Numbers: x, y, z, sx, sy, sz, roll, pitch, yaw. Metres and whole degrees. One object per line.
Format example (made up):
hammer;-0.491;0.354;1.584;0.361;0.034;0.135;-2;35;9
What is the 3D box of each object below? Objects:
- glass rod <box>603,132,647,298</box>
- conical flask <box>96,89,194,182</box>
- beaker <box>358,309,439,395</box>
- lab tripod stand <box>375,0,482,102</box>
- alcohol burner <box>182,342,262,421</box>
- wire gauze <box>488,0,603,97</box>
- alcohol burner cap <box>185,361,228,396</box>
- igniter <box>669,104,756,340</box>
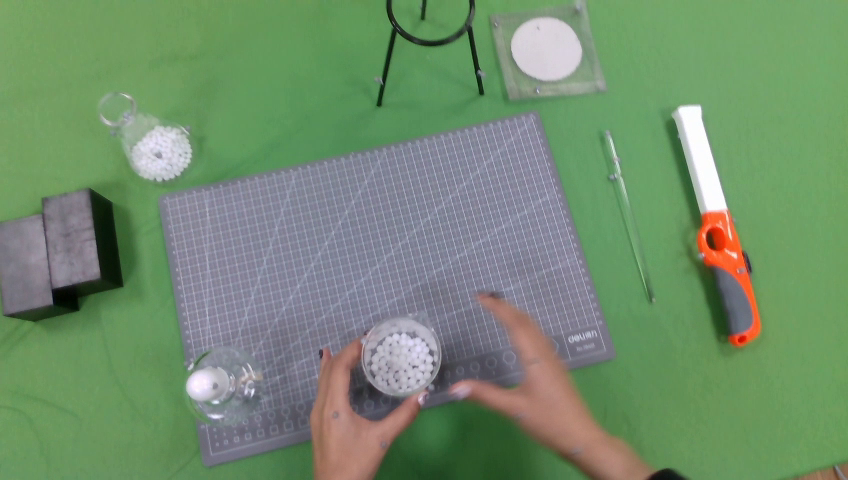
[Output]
glass rod;0.231;-0.031;0.697;0.008;0.008;0.199;-10;80;-4
conical flask;-0.300;-0.114;0.641;0.075;0.122;0.075;0;76;-1
beaker;-0.023;0.113;0.601;0.074;0.101;0.083;26;74;5
lab tripod stand;0.002;-0.220;0.670;0.148;0.132;0.147;0;79;-2
alcohol burner;-0.202;0.136;0.589;0.078;0.119;0.077;0;76;1
wire gauze;0.148;-0.233;0.741;0.125;0.011;0.121;-8;78;-5
alcohol burner cap;-0.200;0.127;0.554;0.034;0.048;0.033;1;79;-6
igniter;0.327;-0.025;0.689;0.057;0.025;0.275;-6;77;-14
